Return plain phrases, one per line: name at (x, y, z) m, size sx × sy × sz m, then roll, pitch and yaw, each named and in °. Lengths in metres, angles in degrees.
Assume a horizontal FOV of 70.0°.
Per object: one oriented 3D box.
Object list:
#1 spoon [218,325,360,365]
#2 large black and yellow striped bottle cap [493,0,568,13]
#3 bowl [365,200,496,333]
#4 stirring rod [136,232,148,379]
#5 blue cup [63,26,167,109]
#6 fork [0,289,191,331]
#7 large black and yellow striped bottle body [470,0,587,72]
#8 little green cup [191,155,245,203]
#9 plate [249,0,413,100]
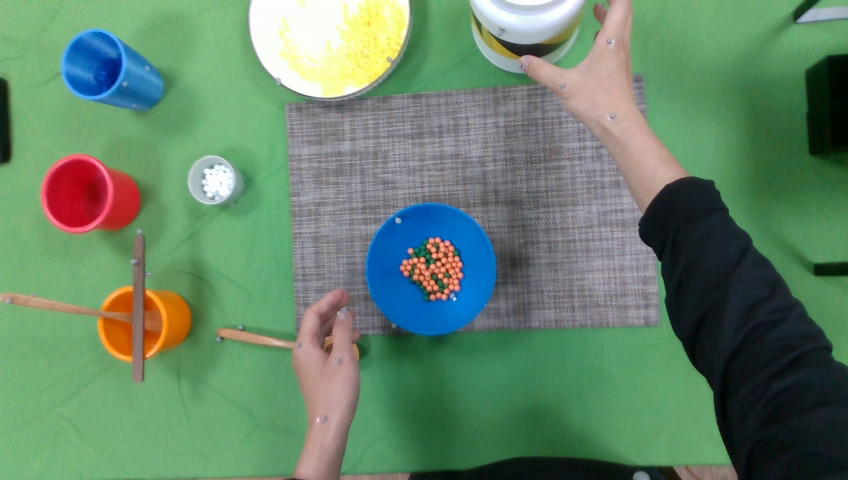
spoon at (-0.174, 0.127, 0.771) m, size 0.193 × 0.021 × 0.042 m, roll 8°, pitch 104°, yaw 6°
large black and yellow striped bottle cap at (0.105, -0.278, 0.582) m, size 0.115 × 0.019 × 0.115 m, roll 0°, pitch 89°, yaw 8°
bowl at (0.011, 0.031, 0.719) m, size 0.151 × 0.077 × 0.151 m, roll 0°, pitch 88°, yaw 7°
stirring rod at (-0.338, 0.079, 0.726) m, size 0.014 × 0.006 × 0.176 m, roll -1°, pitch 89°, yaw 5°
blue cup at (-0.380, -0.208, 0.765) m, size 0.092 × 0.100 × 0.092 m, roll 0°, pitch 89°, yaw 9°
fork at (-0.390, 0.085, 0.735) m, size 0.209 × 0.018 × 0.028 m, roll 17°, pitch 93°, yaw -36°
large black and yellow striped bottle body at (0.115, -0.275, 0.665) m, size 0.130 × 0.184 × 0.130 m, roll 0°, pitch 88°, yaw 7°
little green cup at (-0.262, -0.076, 0.779) m, size 0.061 × 0.039 × 0.061 m, roll 0°, pitch 89°, yaw 8°
plate at (-0.115, -0.278, 0.767) m, size 0.209 × 0.038 × 0.209 m, roll 0°, pitch 89°, yaw 7°
